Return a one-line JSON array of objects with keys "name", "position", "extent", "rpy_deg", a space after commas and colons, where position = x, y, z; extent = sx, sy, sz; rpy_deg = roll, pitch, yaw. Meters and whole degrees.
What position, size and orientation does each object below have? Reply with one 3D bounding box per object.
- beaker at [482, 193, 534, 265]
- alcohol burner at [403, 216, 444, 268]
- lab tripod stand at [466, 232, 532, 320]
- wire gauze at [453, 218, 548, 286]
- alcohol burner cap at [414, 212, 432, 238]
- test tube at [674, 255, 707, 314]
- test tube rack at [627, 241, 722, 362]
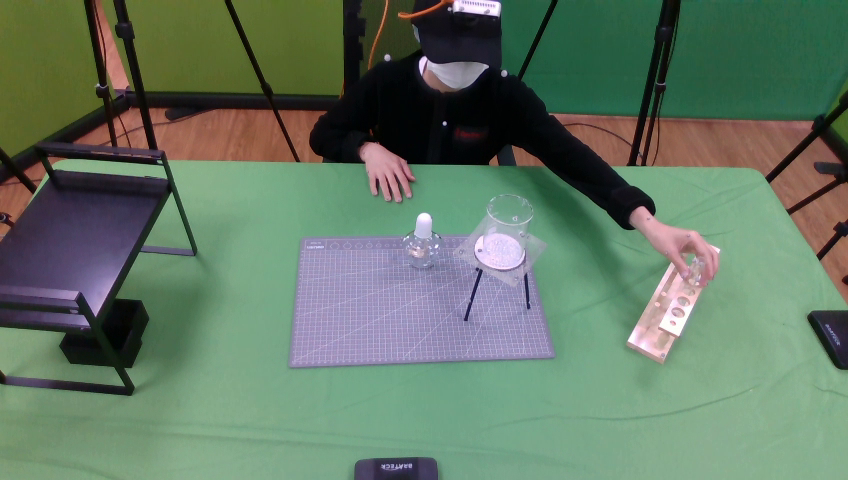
[{"name": "beaker", "position": [0.135, -0.016, 0.979], "extent": [0.073, 0.101, 0.084], "rpy_deg": [35, 52, 28]}, {"name": "alcohol burner", "position": [-0.001, -0.004, 1.132], "extent": [0.078, 0.120, 0.077], "rpy_deg": [1, 46, -1]}, {"name": "lab tripod stand", "position": [0.125, 0.060, 1.065], "extent": [0.148, 0.132, 0.147], "rpy_deg": [1, 45, 0]}, {"name": "wire gauze", "position": [0.129, 0.014, 1.018], "extent": [0.124, 0.011, 0.121], "rpy_deg": [26, 47, 25]}, {"name": "alcohol burner cap", "position": [0.000, -0.030, 1.107], "extent": [0.034, 0.048, 0.033], "rpy_deg": [4, 41, -3]}, {"name": "test tube", "position": [0.454, 0.079, 1.035], "extent": [0.017, 0.151, 0.017], "rpy_deg": [-1, 47, 2]}, {"name": "test tube rack", "position": [0.452, 0.098, 1.087], "extent": [0.066, 0.085, 0.242], "rpy_deg": [28, 51, 22]}]
